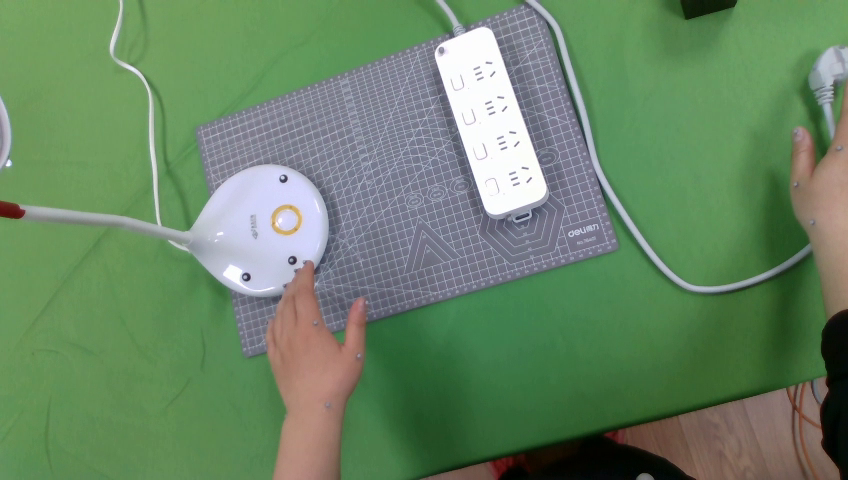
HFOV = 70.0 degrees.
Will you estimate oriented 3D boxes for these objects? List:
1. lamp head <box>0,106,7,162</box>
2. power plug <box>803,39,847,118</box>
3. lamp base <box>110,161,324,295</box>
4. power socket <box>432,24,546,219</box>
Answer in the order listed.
[{"bbox_3d":[-0.318,-0.053,0.335,0.123,0.113,0.112,-25,78,25],"label":"lamp head"},{"bbox_3d":[0.406,-0.161,0.601,0.053,0.035,0.073,-13,102,0],"label":"power plug"},{"bbox_3d":[-0.223,-0.019,0.648,0.179,0.181,0.160,-23,78,12],"label":"lamp base"},{"bbox_3d":[0.070,-0.133,0.668,0.072,0.033,0.225,-19,80,9],"label":"power socket"}]
